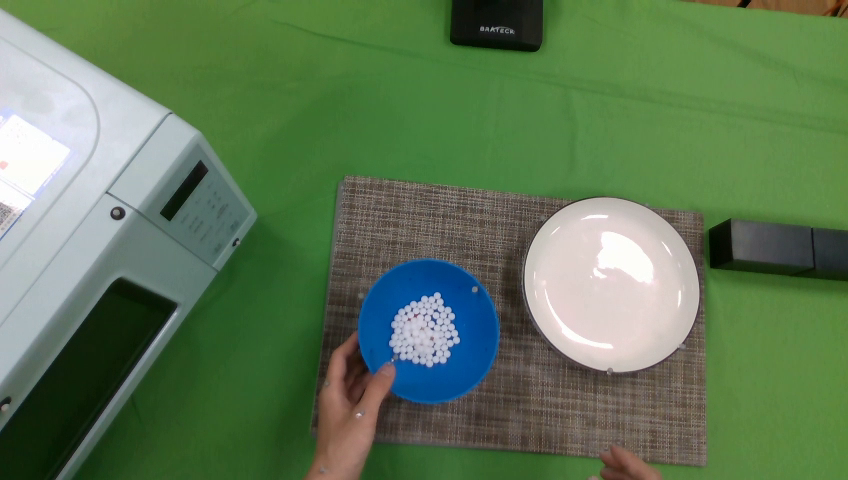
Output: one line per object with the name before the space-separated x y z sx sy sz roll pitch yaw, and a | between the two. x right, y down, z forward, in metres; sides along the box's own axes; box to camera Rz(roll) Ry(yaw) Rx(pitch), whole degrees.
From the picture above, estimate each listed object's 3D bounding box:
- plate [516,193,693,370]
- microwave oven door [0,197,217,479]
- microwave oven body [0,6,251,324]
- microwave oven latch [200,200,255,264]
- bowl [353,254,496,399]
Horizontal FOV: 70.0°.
plate | 0.208 0.049 0.712 0.208 0.039 0.206 1 77 -5
microwave oven door | -0.328 0.141 0.526 0.039 0.244 0.355 31 76 4
microwave oven body | -0.432 0.033 0.548 0.326 0.261 0.440 31 77 3
microwave oven latch | -0.221 -0.014 0.676 0.030 0.029 0.079 33 77 3
bowl | -0.004 0.097 0.658 0.152 0.077 0.150 3 75 -11
